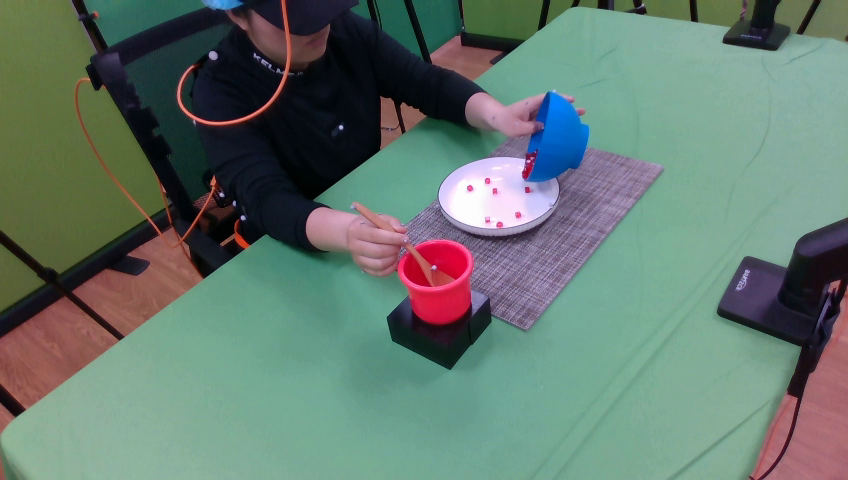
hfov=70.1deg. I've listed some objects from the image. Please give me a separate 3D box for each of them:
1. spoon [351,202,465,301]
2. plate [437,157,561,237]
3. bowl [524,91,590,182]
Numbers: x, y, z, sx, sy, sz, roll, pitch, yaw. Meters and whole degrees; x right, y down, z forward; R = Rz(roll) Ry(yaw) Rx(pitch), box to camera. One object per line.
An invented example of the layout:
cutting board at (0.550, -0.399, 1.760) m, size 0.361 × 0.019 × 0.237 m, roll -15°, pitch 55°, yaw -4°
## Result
spoon at (-0.019, 0.014, 0.787) m, size 0.021 × 0.194 × 0.041 m, roll -35°, pitch 17°, yaw 37°
plate at (0.127, -0.070, 1.023) m, size 0.207 × 0.039 × 0.206 m, roll -5°, pitch 40°, yaw 5°
bowl at (0.220, -0.161, 0.986) m, size 0.077 × 0.151 × 0.151 m, roll 13°, pitch 43°, yaw 0°
